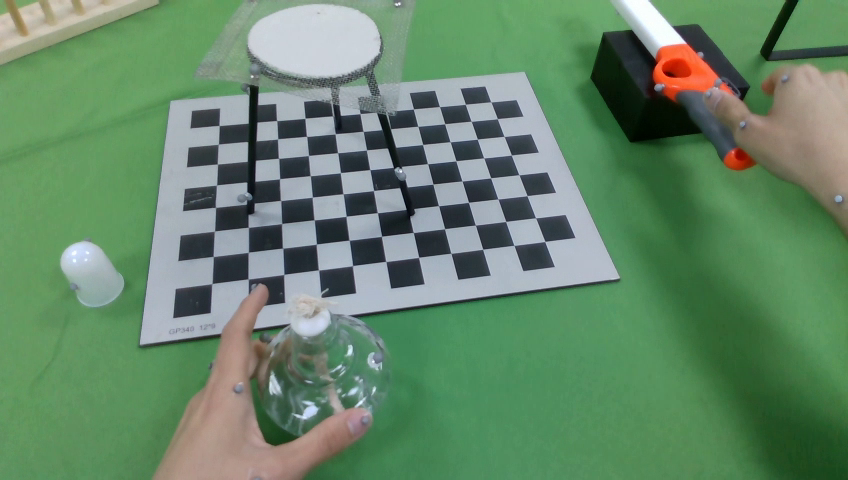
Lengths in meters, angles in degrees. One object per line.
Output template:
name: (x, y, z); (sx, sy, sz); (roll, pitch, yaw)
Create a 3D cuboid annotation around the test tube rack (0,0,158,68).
test tube rack: (-0.402, -0.239, 0.596); (0.242, 0.086, 0.066); (-37, 61, -27)

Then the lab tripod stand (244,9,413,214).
lab tripod stand: (-0.071, -0.089, 0.453); (0.148, 0.132, 0.147); (2, 50, -3)

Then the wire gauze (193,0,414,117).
wire gauze: (-0.072, -0.129, 0.398); (0.125, 0.011, 0.120); (7, 50, 2)

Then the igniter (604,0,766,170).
igniter: (0.218, -0.158, 0.533); (0.057, 0.025, 0.273); (-9, 50, -6)

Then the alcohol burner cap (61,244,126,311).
alcohol burner cap: (-0.231, 0.023, 0.419); (0.034, 0.048, 0.033); (2, 51, -2)

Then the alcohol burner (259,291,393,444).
alcohol burner: (-0.058, 0.069, 0.343); (0.078, 0.120, 0.077); (0, 51, 1)
